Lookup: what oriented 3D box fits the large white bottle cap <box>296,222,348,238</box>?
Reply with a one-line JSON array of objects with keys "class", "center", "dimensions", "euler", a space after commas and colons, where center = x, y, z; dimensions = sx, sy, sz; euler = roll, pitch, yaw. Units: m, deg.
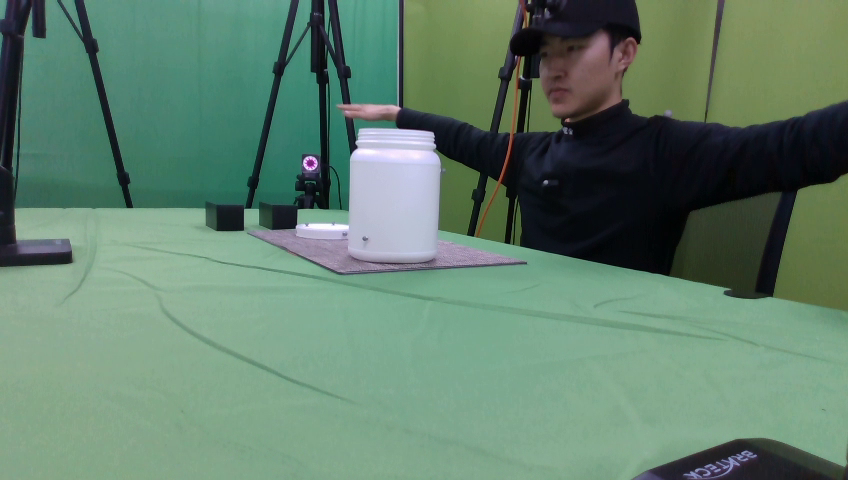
[{"class": "large white bottle cap", "center": [-0.177, -0.019, 1.110], "dimensions": [0.115, 0.018, 0.115], "euler": [3, 7, 0]}]

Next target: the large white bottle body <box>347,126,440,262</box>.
[{"class": "large white bottle body", "center": [-0.043, -0.067, 0.868], "dimensions": [0.131, 0.184, 0.130], "euler": [2, 8, 0]}]
